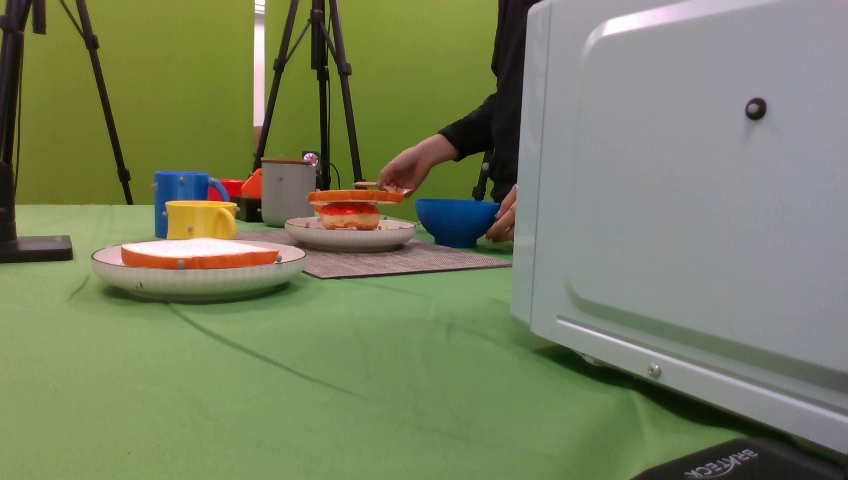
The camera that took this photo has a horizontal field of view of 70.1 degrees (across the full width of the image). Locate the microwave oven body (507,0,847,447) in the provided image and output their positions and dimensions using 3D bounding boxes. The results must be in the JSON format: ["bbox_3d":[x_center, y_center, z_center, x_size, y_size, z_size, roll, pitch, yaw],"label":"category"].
[{"bbox_3d":[0.331,-0.042,0.425,0.444,0.260,0.324,-2,8,-31],"label":"microwave oven body"}]

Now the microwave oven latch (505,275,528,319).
[{"bbox_3d":[0.100,0.042,0.471,0.079,0.029,0.030,-1,7,-29],"label":"microwave oven latch"}]

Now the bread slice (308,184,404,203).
[{"bbox_3d":[-0.114,-0.072,0.953,0.134,0.018,0.107,-3,-1,21],"label":"bread slice"}]

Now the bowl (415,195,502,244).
[{"bbox_3d":[0.059,-0.035,1.049,0.151,0.077,0.151,2,7,0],"label":"bowl"}]

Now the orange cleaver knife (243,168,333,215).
[{"bbox_3d":[-0.300,-0.089,1.351,0.212,0.077,0.012,29,-9,-34],"label":"orange cleaver knife"}]

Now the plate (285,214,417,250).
[{"bbox_3d":[-0.116,-0.014,0.964,0.209,0.038,0.209,2,8,0],"label":"plate"}]

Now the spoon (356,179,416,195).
[{"bbox_3d":[-0.085,-0.118,1.290,0.042,0.022,0.192,-37,35,-31],"label":"spoon"}]

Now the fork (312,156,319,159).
[{"bbox_3d":[-0.331,-0.144,1.505,0.207,0.018,0.028,-42,-20,22],"label":"fork"}]

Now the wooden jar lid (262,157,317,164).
[{"bbox_3d":[-0.269,-0.154,1.208,0.108,0.020,0.108,3,5,0],"label":"wooden jar lid"}]

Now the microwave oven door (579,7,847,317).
[{"bbox_3d":[0.294,-0.067,0.570,0.358,0.243,0.039,-3,9,-31],"label":"microwave oven door"}]

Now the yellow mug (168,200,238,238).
[{"bbox_3d":[-0.320,-0.023,0.904,0.130,0.064,0.100,9,10,36],"label":"yellow mug"}]

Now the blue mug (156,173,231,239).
[{"bbox_3d":[-0.381,-0.057,1.004,0.117,0.106,0.082,0,8,-12],"label":"blue mug"}]

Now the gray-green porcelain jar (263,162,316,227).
[{"bbox_3d":[-0.271,-0.092,1.217,0.106,0.126,0.106,2,7,0],"label":"gray-green porcelain jar"}]

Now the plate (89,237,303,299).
[{"bbox_3d":[-0.233,0.029,0.637,0.208,0.039,0.207,2,7,0],"label":"plate"}]

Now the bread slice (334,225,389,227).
[{"bbox_3d":[-0.103,-0.010,0.961,0.131,0.019,0.105,3,8,24],"label":"bread slice"}]
